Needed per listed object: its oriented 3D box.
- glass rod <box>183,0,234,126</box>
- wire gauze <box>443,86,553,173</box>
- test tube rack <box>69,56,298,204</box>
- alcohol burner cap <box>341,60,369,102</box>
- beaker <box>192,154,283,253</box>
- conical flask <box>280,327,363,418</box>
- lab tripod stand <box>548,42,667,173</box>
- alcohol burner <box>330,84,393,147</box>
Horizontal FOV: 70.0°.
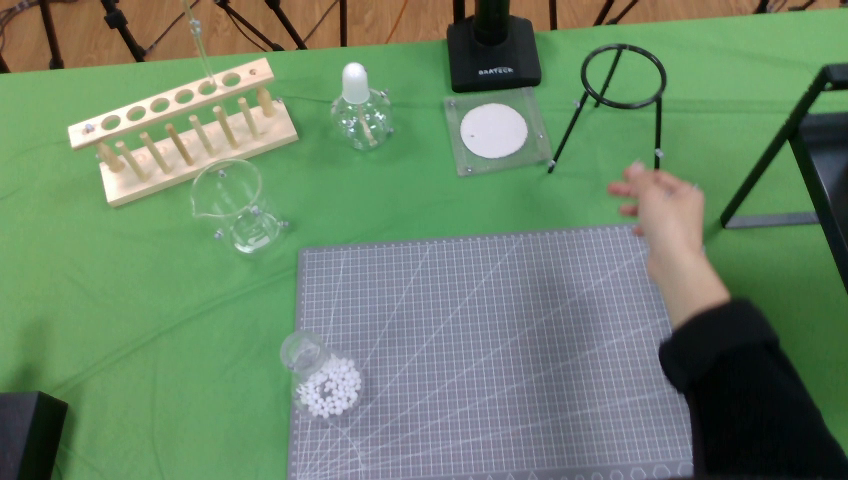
[{"bbox_3d":[-0.246,-0.199,0.701,0.008,0.201,0.008,1,60,-1],"label":"glass rod"},{"bbox_3d":[0.093,-0.146,0.773,0.121,0.011,0.124,-8,62,-2],"label":"wire gauze"},{"bbox_3d":[-0.288,-0.134,0.744,0.242,0.086,0.066,-22,63,-9],"label":"test tube rack"},{"bbox_3d":[-0.080,-0.188,0.704,0.034,0.048,0.033,3,61,-5],"label":"alcohol burner cap"},{"bbox_3d":[-0.207,-0.034,0.680,0.073,0.101,0.084,40,71,22],"label":"beaker"},{"bbox_3d":[-0.103,0.120,0.577,0.075,0.123,0.074,-1,62,3],"label":"conical flask"},{"bbox_3d":[0.219,-0.147,0.697,0.148,0.132,0.147,0,61,1],"label":"lab tripod stand"},{"bbox_3d":[-0.078,-0.169,0.736,0.078,0.120,0.077,-1,60,2],"label":"alcohol burner"}]
